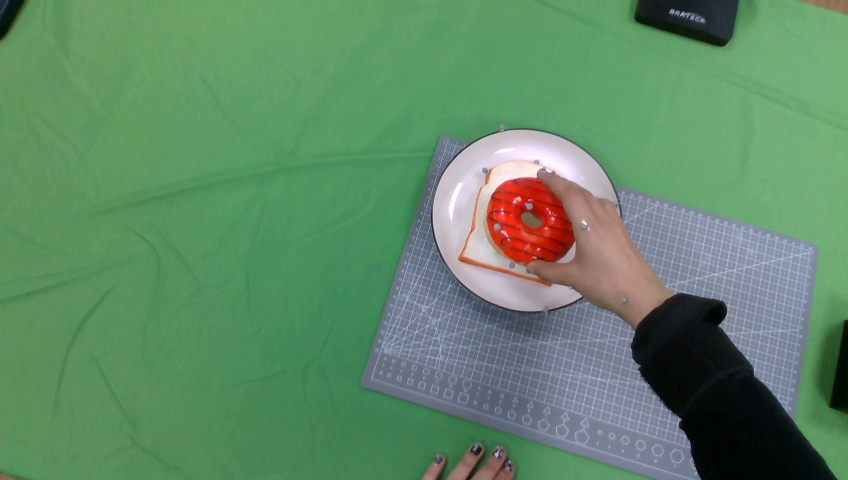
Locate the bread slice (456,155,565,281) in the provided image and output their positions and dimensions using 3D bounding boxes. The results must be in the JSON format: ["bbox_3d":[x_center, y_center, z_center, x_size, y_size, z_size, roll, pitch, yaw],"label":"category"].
[{"bbox_3d":[0.101,-0.030,0.665,0.105,0.019,0.131,14,76,0],"label":"bread slice"}]

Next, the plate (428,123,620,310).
[{"bbox_3d":[0.107,-0.025,0.662,0.209,0.038,0.208,1,77,-3],"label":"plate"}]

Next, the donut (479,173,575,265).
[{"bbox_3d":[0.105,-0.022,0.613,0.099,0.048,0.098,2,72,-7],"label":"donut"}]
